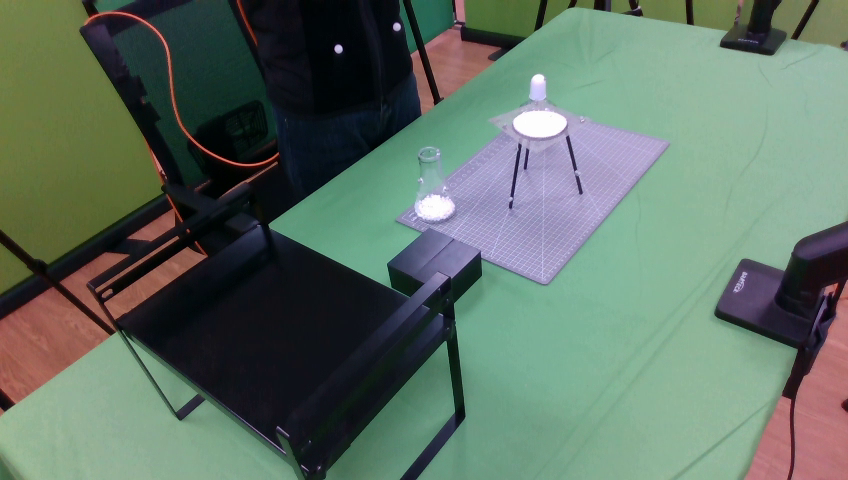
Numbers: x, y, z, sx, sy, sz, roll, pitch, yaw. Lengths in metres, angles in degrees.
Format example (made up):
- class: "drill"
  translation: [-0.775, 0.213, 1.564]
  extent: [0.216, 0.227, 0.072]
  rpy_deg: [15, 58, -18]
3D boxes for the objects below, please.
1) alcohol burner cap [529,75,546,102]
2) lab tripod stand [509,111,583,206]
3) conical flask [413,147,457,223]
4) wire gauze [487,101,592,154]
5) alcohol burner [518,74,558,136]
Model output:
- class: "alcohol burner cap"
  translation: [0.218, -0.292, 1.156]
  extent: [0.034, 0.048, 0.033]
  rpy_deg: [-4, 46, 4]
- class: "lab tripod stand"
  translation: [0.197, -0.139, 1.019]
  extent: [0.148, 0.132, 0.147]
  rpy_deg: [-3, 39, 3]
- class: "conical flask"
  translation: [0.013, -0.094, 1.002]
  extent: [0.075, 0.122, 0.075]
  rpy_deg: [-5, 41, 4]
- class: "wire gauze"
  translation: [0.185, -0.187, 0.973]
  extent: [0.122, 0.011, 0.124]
  rpy_deg: [-27, 44, -23]
- class: "alcohol burner"
  translation: [0.222, -0.265, 1.179]
  extent: [0.078, 0.119, 0.077]
  rpy_deg: [-6, 39, 5]
